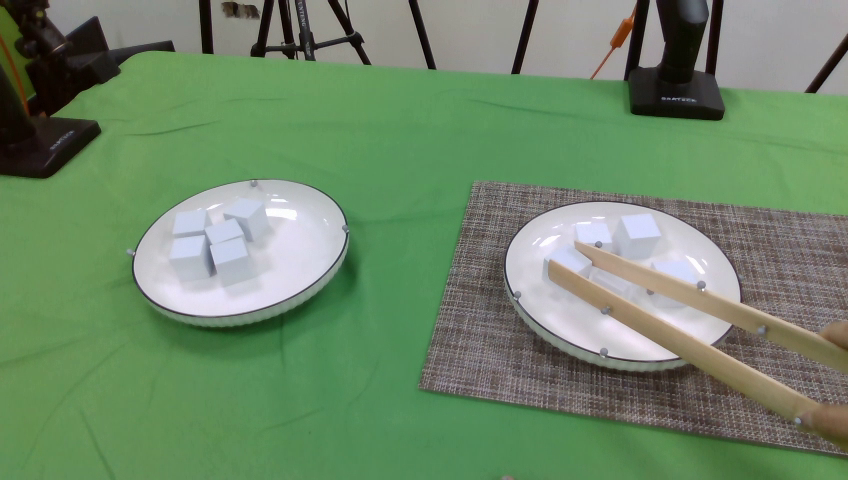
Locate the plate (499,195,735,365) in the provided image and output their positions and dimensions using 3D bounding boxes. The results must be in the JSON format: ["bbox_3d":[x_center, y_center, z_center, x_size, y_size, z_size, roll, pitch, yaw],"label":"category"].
[{"bbox_3d":[0.173,0.035,0.563,0.208,0.039,0.205,-1,42,1],"label":"plate"}]

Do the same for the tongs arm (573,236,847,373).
[{"bbox_3d":[0.252,0.079,0.418,0.051,0.027,0.381,-36,42,-29],"label":"tongs arm"}]

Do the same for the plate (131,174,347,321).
[{"bbox_3d":[-0.181,0.008,0.614,0.209,0.038,0.207,-1,41,1],"label":"plate"}]

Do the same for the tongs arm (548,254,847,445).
[{"bbox_3d":[0.234,0.091,0.408,0.028,0.028,0.383,-30,40,-28],"label":"tongs arm"}]
